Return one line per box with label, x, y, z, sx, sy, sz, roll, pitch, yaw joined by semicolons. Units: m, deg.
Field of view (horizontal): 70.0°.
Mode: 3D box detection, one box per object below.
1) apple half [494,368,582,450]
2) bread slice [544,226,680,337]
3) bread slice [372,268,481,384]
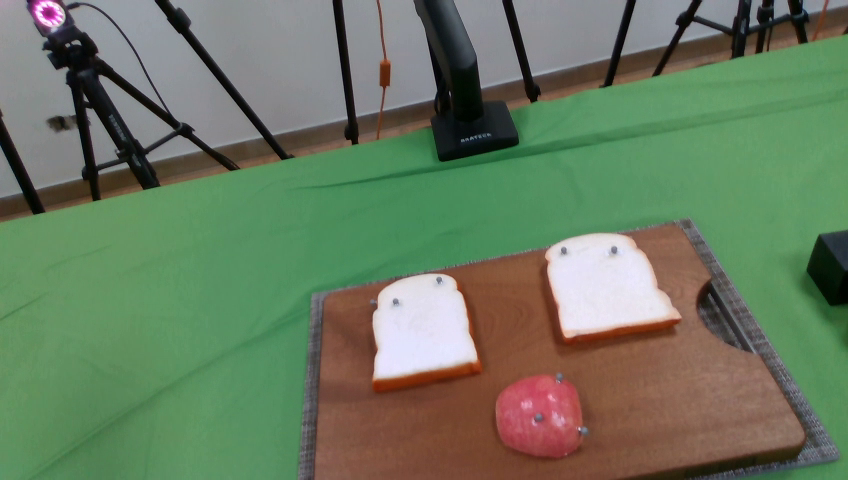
apple half;0.096;0.137;0.514;0.081;0.033;0.080;-6;44;6
bread slice;0.175;0.037;0.607;0.107;0.018;0.133;-13;42;2
bread slice;-0.005;0.081;0.613;0.105;0.019;0.130;-11;43;2
